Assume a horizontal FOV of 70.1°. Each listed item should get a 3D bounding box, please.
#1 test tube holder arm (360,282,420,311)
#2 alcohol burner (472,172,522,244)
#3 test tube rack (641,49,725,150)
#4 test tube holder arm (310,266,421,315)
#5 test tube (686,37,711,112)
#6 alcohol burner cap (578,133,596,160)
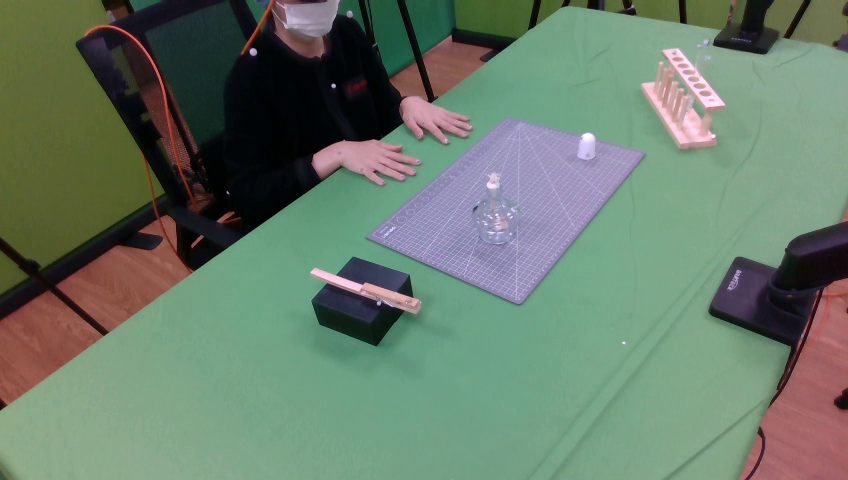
[{"bbox_3d":[-0.046,0.075,0.811,0.087,0.010,0.015,17,47,25],"label":"test tube holder arm"},{"bbox_3d":[0.112,-0.053,0.942,0.078,0.119,0.077,-6,40,5],"label":"alcohol burner"},{"bbox_3d":[0.495,-0.279,1.175,0.067,0.085,0.241,-5,41,3],"label":"test tube rack"},{"bbox_3d":[-0.084,0.067,0.833,0.177,0.013,0.015,17,47,25],"label":"test tube holder arm"},{"bbox_3d":[0.509,-0.306,1.128,0.017,0.151,0.017,-3,44,3],"label":"test tube"},{"bbox_3d":[0.301,-0.174,1.111,0.034,0.048,0.033,-5,40,4],"label":"alcohol burner cap"}]
